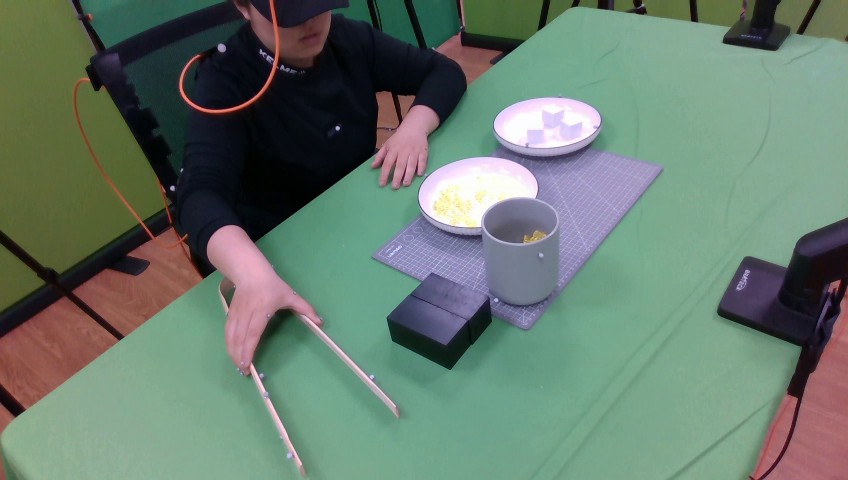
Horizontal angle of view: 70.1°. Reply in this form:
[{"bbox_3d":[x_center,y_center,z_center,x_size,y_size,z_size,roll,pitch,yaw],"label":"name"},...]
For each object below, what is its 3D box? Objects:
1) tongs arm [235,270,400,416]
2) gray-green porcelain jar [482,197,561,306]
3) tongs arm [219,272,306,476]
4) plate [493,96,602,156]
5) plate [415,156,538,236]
[{"bbox_3d":[-0.160,0.131,0.851,0.028,0.028,0.384,-37,46,-25],"label":"tongs arm"},{"bbox_3d":[0.138,0.020,0.846,0.106,0.127,0.105,-5,40,5],"label":"gray-green porcelain jar"},{"bbox_3d":[-0.218,0.160,0.823,0.051,0.026,0.381,-27,42,-20],"label":"tongs arm"},{"bbox_3d":[0.238,-0.218,1.179,0.209,0.038,0.208,-4,39,4],"label":"plate"},{"bbox_3d":[0.090,-0.072,1.034,0.207,0.039,0.206,-5,40,5],"label":"plate"}]
